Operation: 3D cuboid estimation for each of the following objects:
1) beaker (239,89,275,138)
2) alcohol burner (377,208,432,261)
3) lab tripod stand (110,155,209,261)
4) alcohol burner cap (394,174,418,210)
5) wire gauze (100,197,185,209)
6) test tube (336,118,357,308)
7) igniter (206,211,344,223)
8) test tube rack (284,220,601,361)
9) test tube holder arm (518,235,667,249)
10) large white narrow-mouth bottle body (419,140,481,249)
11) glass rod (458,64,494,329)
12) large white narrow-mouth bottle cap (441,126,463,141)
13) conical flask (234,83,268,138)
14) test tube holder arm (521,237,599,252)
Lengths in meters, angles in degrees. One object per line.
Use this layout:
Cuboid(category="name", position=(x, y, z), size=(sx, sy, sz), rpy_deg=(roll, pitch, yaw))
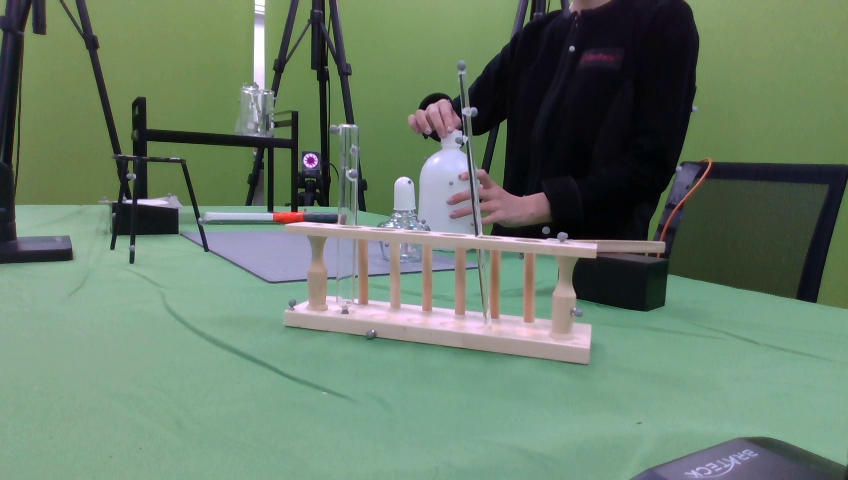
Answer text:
Cuboid(category="beaker", position=(-0.361, -0.273, 1.308), size=(0.074, 0.100, 0.084), rpy_deg=(0, 8, -11))
Cuboid(category="alcohol burner", position=(-0.027, -0.031, 0.838), size=(0.078, 0.119, 0.078), rpy_deg=(0, 6, 0))
Cuboid(category="lab tripod stand", position=(-0.361, -0.046, 0.806), size=(0.148, 0.131, 0.148), rpy_deg=(2, 5, 0))
Cuboid(category="alcohol burner cap", position=(-0.026, -0.067, 0.834), size=(0.034, 0.048, 0.034), rpy_deg=(-1, 12, 1))
Cuboid(category="wire gauze", position=(-0.469, -0.062, 1.008), size=(0.126, 0.011, 0.121), rpy_deg=(-2, 8, -25))
Cuboid(category="test tube", position=(-0.061, -0.019, 0.476), size=(0.017, 0.150, 0.017), rpy_deg=(2, 11, 0))
Cuboid(category="igniter", position=(-0.302, -0.048, 1.249), size=(0.278, 0.025, 0.057), rpy_deg=(-2, -2, -27))
Cuboid(category="test tube rack", position=(0.013, 0.032, 0.482), size=(0.242, 0.085, 0.067), rpy_deg=(4, 7, 16))
Cuboid(category="test tube holder arm", position=(0.186, 0.003, 0.655), size=(0.179, 0.015, 0.013), rpy_deg=(0, 13, -18))
Cuboid(category="large white narrow-mouth bottle body", position=(0.044, -0.086, 0.995), size=(0.102, 0.194, 0.102), rpy_deg=(2, 8, 0))
Cuboid(category="glass rod", position=(0.039, -0.029, 0.449), size=(0.008, 0.199, 0.008), rpy_deg=(-7, 9, 1))
Cuboid(category="large white narrow-mouth bottle cap", position=(0.045, -0.173, 0.983), size=(0.038, 0.024, 0.037), rpy_deg=(2, 8, 0))
Cuboid(category="conical flask", position=(-0.399, -0.298, 1.396), size=(0.075, 0.122, 0.075), rpy_deg=(2, 8, 0))
Cuboid(category="test tube holder arm", position=(0.144, 0.004, 0.635), size=(0.088, 0.015, 0.010), rpy_deg=(0, 13, -19))
